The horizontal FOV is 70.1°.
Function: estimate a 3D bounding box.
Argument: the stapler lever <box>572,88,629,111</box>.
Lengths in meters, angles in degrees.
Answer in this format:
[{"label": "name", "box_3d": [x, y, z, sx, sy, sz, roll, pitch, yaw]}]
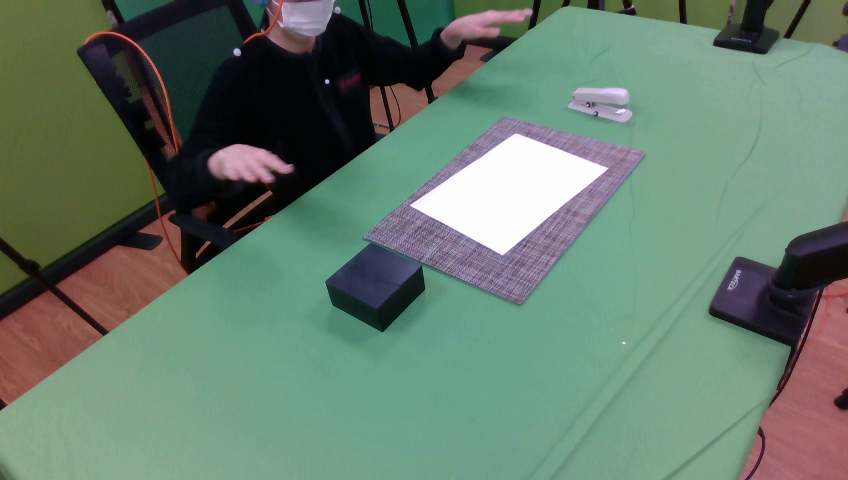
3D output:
[{"label": "stapler lever", "box_3d": [0.357, -0.292, 1.222, 0.117, 0.040, 0.027, 25, 49, 33]}]

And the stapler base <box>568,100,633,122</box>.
[{"label": "stapler base", "box_3d": [0.361, -0.273, 1.237, 0.129, 0.024, 0.041, 24, 48, 34]}]
